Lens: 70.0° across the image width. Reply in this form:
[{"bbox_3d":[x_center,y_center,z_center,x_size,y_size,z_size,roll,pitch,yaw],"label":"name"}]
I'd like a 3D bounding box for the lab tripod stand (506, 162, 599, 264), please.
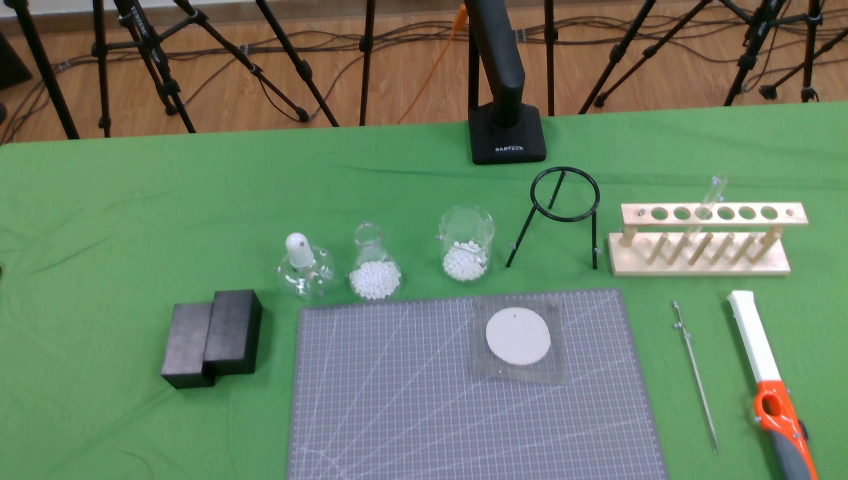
[{"bbox_3d":[0.181,-0.031,0.837,0.148,0.132,0.147,-1,60,2],"label":"lab tripod stand"}]

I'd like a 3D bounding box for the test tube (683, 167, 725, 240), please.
[{"bbox_3d":[0.370,-0.045,0.810,0.017,0.151,0.017,-2,57,4],"label":"test tube"}]

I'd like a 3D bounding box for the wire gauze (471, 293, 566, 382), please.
[{"bbox_3d":[0.126,0.126,0.811,0.125,0.011,0.120,5,58,1],"label":"wire gauze"}]

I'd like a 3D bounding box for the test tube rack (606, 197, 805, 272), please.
[{"bbox_3d":[0.389,-0.006,0.843,0.242,0.086,0.066,-1,57,2],"label":"test tube rack"}]

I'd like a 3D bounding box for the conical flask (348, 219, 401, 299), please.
[{"bbox_3d":[-0.072,0.022,0.819,0.075,0.123,0.074,-1,58,1],"label":"conical flask"}]

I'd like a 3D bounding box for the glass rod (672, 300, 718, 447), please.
[{"bbox_3d":[0.347,0.166,0.782,0.008,0.008,0.198,-3,57,0],"label":"glass rod"}]

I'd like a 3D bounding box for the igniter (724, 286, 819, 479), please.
[{"bbox_3d":[0.432,0.182,0.757,0.057,0.025,0.274,3,57,-7],"label":"igniter"}]

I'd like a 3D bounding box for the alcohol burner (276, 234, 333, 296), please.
[{"bbox_3d":[-0.165,0.027,0.823,0.078,0.120,0.077,-2,58,3],"label":"alcohol burner"}]

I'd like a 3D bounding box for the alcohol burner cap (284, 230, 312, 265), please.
[{"bbox_3d":[-0.167,0.006,0.794,0.034,0.048,0.033,-1,51,1],"label":"alcohol burner cap"}]

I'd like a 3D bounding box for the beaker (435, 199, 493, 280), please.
[{"bbox_3d":[0.057,0.006,0.839,0.074,0.101,0.083,-19,59,-9],"label":"beaker"}]
